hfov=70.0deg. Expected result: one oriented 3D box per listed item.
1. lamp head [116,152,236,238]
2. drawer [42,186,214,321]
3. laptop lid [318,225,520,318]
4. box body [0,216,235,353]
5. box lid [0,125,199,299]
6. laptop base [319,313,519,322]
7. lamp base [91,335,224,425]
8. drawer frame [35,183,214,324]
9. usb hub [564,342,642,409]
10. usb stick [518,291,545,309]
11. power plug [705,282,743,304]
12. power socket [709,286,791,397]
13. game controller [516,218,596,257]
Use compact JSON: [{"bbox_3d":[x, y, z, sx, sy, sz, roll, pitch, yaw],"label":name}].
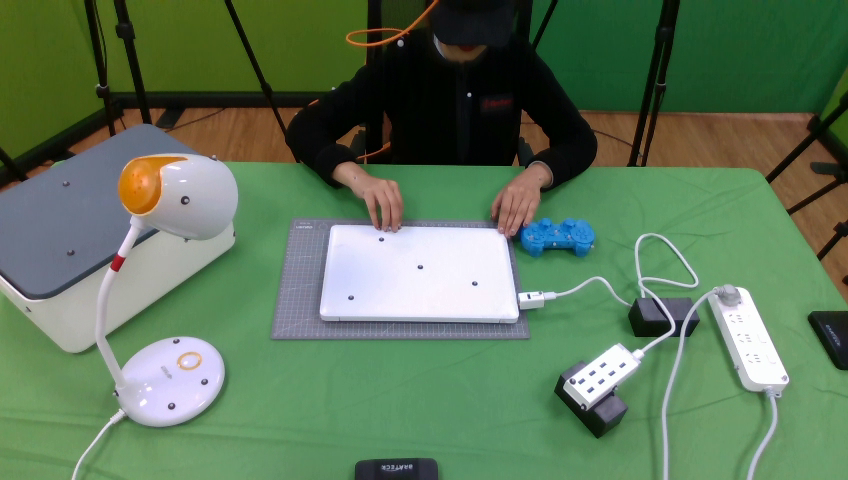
[{"bbox_3d":[-0.315,-0.057,0.748,0.112,0.112,0.123,26,10,20],"label":"lamp head"},{"bbox_3d":[-0.529,0.018,1.097,0.194,0.073,0.211,29,53,20],"label":"drawer"},{"bbox_3d":[-0.009,0.052,1.130,0.357,0.013,0.240,2,43,-2],"label":"laptop lid"},{"bbox_3d":[-0.550,-0.007,1.068,0.253,0.161,0.363,30,51,23],"label":"box body"},{"bbox_3d":[-0.540,-0.068,1.016,0.262,0.015,0.371,30,51,23],"label":"box lid"},{"bbox_3d":[-0.009,0.062,1.137,0.354,0.023,0.234,1,42,-3],"label":"laptop base"},{"bbox_3d":[-0.401,0.171,0.892,0.160,0.181,0.179,30,53,23],"label":"lamp base"},{"bbox_3d":[-0.531,0.018,1.092,0.201,0.083,0.213,29,52,21],"label":"drawer frame"},{"bbox_3d":[0.278,0.208,0.942,0.125,0.025,0.049,-27,52,-28],"label":"usb hub"},{"bbox_3d":[0.186,0.108,1.086,0.059,0.027,0.021,-8,47,1],"label":"usb stick"},{"bbox_3d":[0.539,0.097,1.098,0.072,0.053,0.035,8,47,8],"label":"power plug"},{"bbox_3d":[0.568,0.167,1.064,0.072,0.033,0.225,2,46,-1],"label":"power socket"},{"bbox_3d":[0.267,-0.014,1.212,0.155,0.052,0.096,0,50,-3],"label":"game controller"}]
